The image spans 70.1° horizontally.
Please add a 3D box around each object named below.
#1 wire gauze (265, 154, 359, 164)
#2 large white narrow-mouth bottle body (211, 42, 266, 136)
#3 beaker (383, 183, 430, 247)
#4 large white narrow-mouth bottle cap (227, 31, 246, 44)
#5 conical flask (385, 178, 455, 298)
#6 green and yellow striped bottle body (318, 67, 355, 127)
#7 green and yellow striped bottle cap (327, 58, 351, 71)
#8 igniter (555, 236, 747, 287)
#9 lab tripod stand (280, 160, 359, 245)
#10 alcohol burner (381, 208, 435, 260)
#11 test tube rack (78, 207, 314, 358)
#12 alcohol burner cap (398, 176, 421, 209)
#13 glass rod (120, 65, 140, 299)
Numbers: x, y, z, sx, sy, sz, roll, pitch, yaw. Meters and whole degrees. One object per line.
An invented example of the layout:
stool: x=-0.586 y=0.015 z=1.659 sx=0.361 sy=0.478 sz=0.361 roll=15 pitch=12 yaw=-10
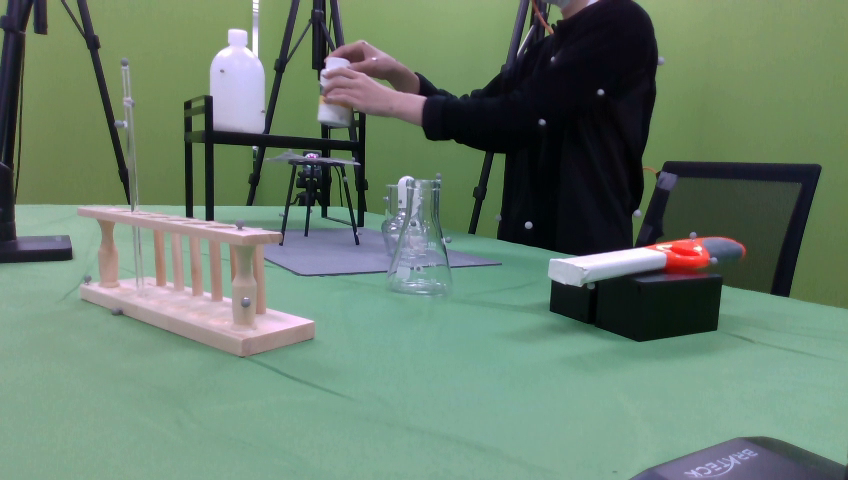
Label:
wire gauze: x=-0.181 y=-0.129 z=0.969 sx=0.126 sy=0.011 sz=0.121 roll=-1 pitch=7 yaw=-27
large white narrow-mouth bottle body: x=-0.361 y=-0.302 z=1.176 sx=0.102 sy=0.194 sz=0.102 roll=1 pitch=7 yaw=0
beaker: x=-0.027 y=-0.041 z=0.996 sx=0.074 sy=0.100 sz=0.083 roll=-5 pitch=11 yaw=-43
large white narrow-mouth bottle cap: x=-0.361 y=-0.389 z=1.166 sx=0.038 sy=0.024 sz=0.037 roll=1 pitch=7 yaw=0
conical flask: x=-0.002 y=-0.004 z=0.639 sx=0.075 sy=0.122 sz=0.075 roll=2 pitch=7 yaw=0
green and yellow striped bottle body: x=-0.166 y=-0.281 z=1.158 sx=0.063 sy=0.119 sz=0.063 roll=6 pitch=3 yaw=0
green and yellow striped bottle cap: x=-0.162 y=-0.333 z=1.157 sx=0.045 sy=0.020 sz=0.045 roll=6 pitch=3 yaw=0
igniter: x=0.221 y=0.017 z=0.558 sx=0.278 sy=0.025 sz=0.057 roll=-5 pitch=15 yaw=-39
lab tripod stand: x=-0.176 y=-0.062 z=0.973 sx=0.148 sy=0.131 sz=0.148 roll=0 pitch=7 yaw=0
alcohol burner: x=-0.023 y=-0.032 z=0.871 sx=0.078 sy=0.119 sz=0.078 roll=1 pitch=6 yaw=0
test tube rack: x=-0.197 y=0.024 z=0.499 sx=0.241 sy=0.085 sz=0.067 roll=8 pitch=8 yaw=37
alcohol burner cap: x=-0.023 y=-0.068 z=0.866 sx=0.034 sy=0.048 sz=0.034 roll=-5 pitch=8 yaw=1
glass rod: x=-0.249 y=-0.047 z=0.513 sx=0.008 sy=0.199 sz=0.008 roll=-1 pitch=4 yaw=0
